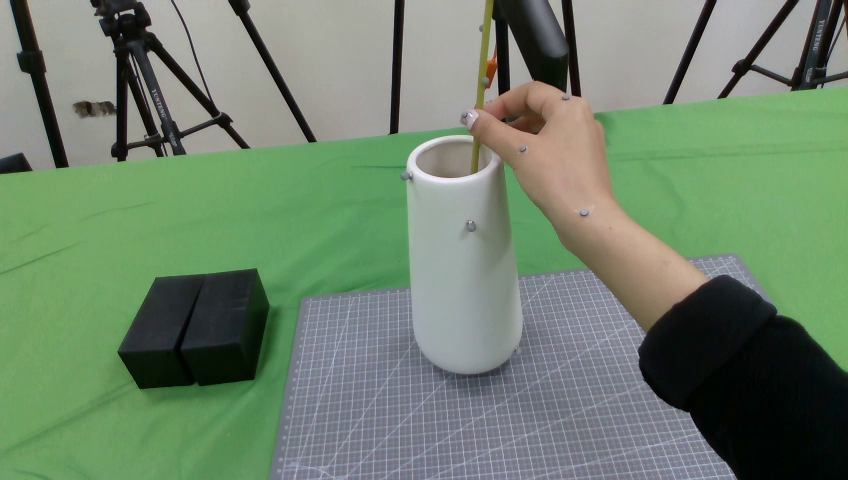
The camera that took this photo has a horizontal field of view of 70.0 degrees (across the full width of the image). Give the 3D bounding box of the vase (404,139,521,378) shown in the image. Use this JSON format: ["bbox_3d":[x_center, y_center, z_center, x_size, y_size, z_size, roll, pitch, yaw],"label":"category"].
[{"bbox_3d":[0.029,0.021,0.497,0.098,0.202,0.097,-5,37,4],"label":"vase"}]

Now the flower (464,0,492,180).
[{"bbox_3d":[0.035,-0.052,0.453,0.044,0.364,0.038,17,26,24],"label":"flower"}]
